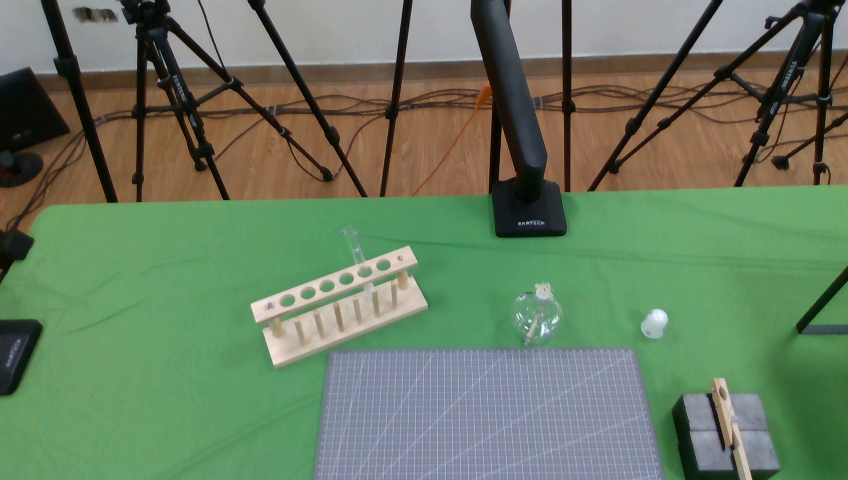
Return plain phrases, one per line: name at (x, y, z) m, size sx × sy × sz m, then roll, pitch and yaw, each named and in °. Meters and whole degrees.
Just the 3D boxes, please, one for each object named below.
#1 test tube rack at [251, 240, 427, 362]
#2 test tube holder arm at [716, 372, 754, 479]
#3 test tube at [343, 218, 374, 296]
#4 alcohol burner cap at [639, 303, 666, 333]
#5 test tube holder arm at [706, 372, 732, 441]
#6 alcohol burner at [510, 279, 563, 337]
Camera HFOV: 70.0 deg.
test tube rack at (-0.120, 0.089, 0.895) m, size 0.243 × 0.086 × 0.066 m, roll -20°, pitch 55°, yaw -13°
test tube holder arm at (0.384, 0.248, 0.745) m, size 0.013 × 0.015 × 0.176 m, roll -1°, pitch 55°, yaw -1°
test tube at (-0.091, 0.028, 0.875) m, size 0.017 × 0.152 × 0.017 m, roll -7°, pitch 43°, yaw 7°
alcohol burner cap at (0.339, 0.113, 0.892) m, size 0.034 × 0.048 × 0.033 m, roll -2°, pitch 52°, yaw 2°
test tube holder arm at (0.377, 0.211, 0.771) m, size 0.010 × 0.015 × 0.087 m, roll -1°, pitch 55°, yaw 0°
alcohol burner at (0.163, 0.090, 0.869) m, size 0.078 × 0.120 × 0.077 m, roll 0°, pitch 55°, yaw 1°
